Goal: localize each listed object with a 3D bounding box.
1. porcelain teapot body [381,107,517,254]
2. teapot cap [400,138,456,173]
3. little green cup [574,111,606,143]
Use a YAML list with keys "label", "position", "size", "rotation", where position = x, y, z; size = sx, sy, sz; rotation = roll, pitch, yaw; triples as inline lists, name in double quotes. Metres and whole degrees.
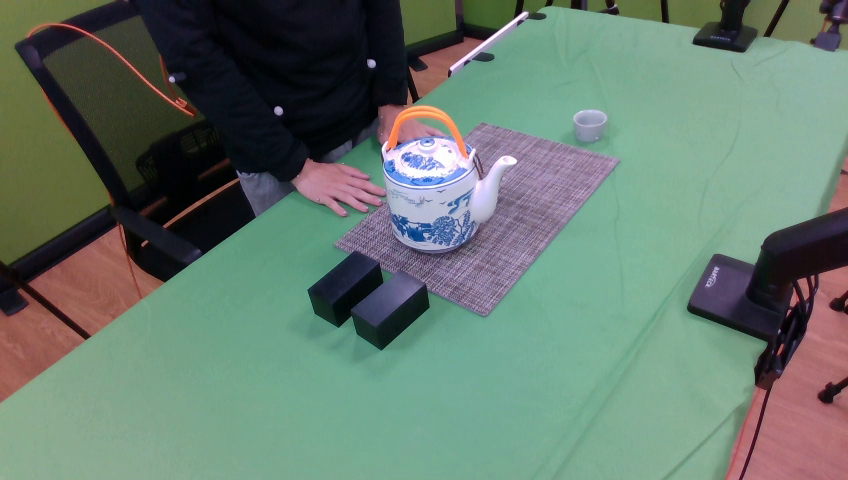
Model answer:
- label: "porcelain teapot body"
  position: [0.039, -0.095, 0.912]
  size: [0.205, 0.226, 0.145]
  rotation: [5, 42, 14]
- label: "teapot cap"
  position: [0.006, -0.127, 0.893]
  size: [0.085, 0.044, 0.084]
  rotation: [-3, 44, 3]
- label: "little green cup"
  position: [0.318, -0.217, 1.164]
  size: [0.061, 0.039, 0.061]
  rotation: [-3, 41, 3]
